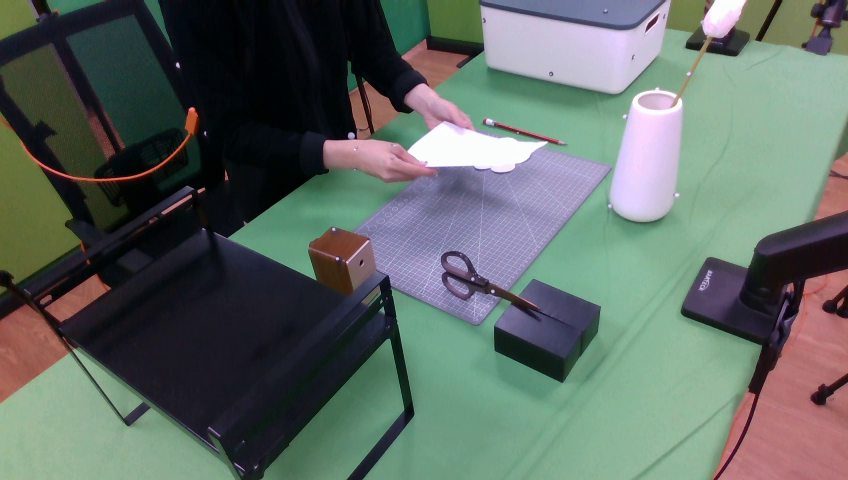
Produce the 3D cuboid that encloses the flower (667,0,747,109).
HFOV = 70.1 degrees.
[{"bbox_3d":[0.354,-0.187,0.879,0.038,0.362,0.044,30,48,14],"label":"flower"}]

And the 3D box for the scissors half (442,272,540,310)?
[{"bbox_3d":[0.089,0.075,0.832,0.013,0.040,0.173,-23,22,-39],"label":"scissors half"}]

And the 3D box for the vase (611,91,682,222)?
[{"bbox_3d":[0.348,-0.125,0.935,0.098,0.201,0.097,-3,40,3],"label":"vase"}]

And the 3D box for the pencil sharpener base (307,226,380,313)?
[{"bbox_3d":[-0.116,0.043,0.875,0.076,0.107,0.061,18,47,27],"label":"pencil sharpener base"}]

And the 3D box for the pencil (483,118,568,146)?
[{"bbox_3d":[0.202,-0.217,1.212,0.192,0.012,0.012,24,49,29],"label":"pencil"}]

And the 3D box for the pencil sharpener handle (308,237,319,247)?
[{"bbox_3d":[-0.159,0.017,0.892,0.030,0.068,0.036,18,60,28],"label":"pencil sharpener handle"}]

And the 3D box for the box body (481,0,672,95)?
[{"bbox_3d":[0.341,-0.480,1.381,0.361,0.161,0.255,22,48,30],"label":"box body"}]

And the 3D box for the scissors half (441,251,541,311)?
[{"bbox_3d":[0.087,0.056,0.824,0.013,0.040,0.173,-29,44,-36],"label":"scissors half"}]

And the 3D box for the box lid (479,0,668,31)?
[{"bbox_3d":[0.335,-0.536,1.331,0.368,0.015,0.264,23,49,30],"label":"box lid"}]
